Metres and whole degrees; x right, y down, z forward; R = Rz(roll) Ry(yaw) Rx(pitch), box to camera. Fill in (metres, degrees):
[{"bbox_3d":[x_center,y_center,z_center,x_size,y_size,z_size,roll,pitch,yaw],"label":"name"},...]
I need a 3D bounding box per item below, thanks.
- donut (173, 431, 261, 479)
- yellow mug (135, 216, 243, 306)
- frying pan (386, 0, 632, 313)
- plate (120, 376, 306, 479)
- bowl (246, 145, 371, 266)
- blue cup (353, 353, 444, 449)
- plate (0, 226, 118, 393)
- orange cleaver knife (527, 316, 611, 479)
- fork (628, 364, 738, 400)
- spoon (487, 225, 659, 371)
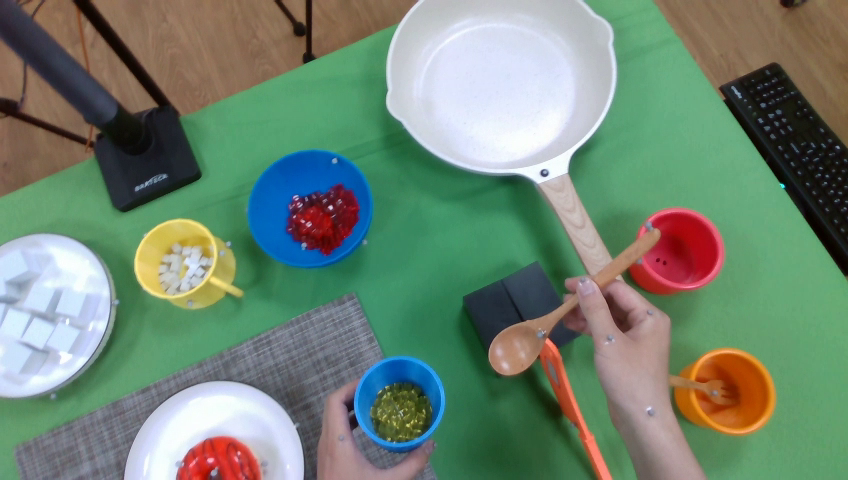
[{"bbox_3d":[-0.232,0.266,0.682,0.099,0.048,0.098,0,78,2],"label":"donut"},{"bbox_3d":[-0.281,0.034,0.750,0.130,0.064,0.099,27,77,9],"label":"yellow mug"},{"bbox_3d":[0.133,-0.128,0.758,0.307,0.103,0.483,-20,66,-2],"label":"frying pan"},{"bbox_3d":[-0.237,0.262,0.694,0.209,0.038,0.208,-1,75,2],"label":"plate"},{"bbox_3d":[-0.135,-0.033,0.757,0.151,0.077,0.150,-1,75,2],"label":"bowl"},{"bbox_3d":[-0.025,0.169,0.607,0.093,0.101,0.092,1,62,-1],"label":"blue cup"},{"bbox_3d":[-0.482,0.086,0.758,0.207,0.039,0.206,-1,74,3],"label":"plate"},{"bbox_3d":[0.162,0.182,0.681,0.012,0.077,0.212,-26,103,-5],"label":"orange cleaver knife"},{"bbox_3d":[0.283,0.151,0.650,0.209,0.018,0.028,18,70,-38],"label":"fork"},{"bbox_3d":[0.131,0.054,0.538,0.194,0.022,0.041,-44,77,24],"label":"spoon"}]
